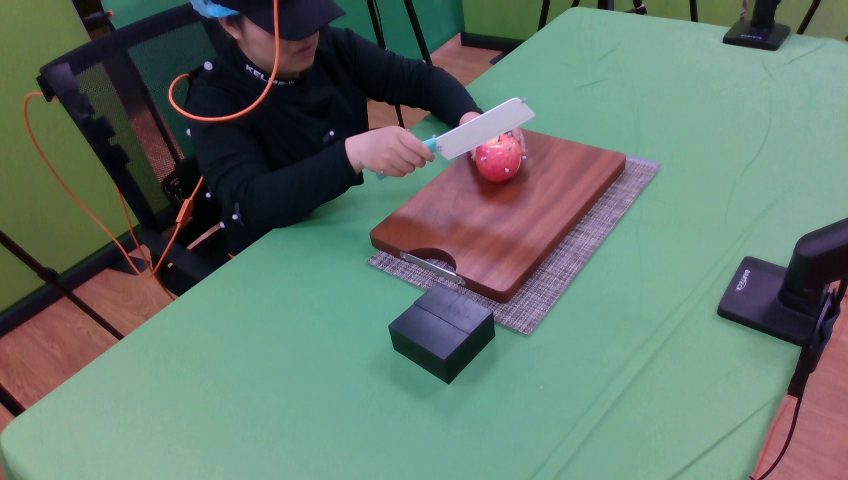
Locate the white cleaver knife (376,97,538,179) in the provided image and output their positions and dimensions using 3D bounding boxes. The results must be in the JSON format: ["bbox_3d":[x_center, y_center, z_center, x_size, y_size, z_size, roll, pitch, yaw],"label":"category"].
[{"bbox_3d":[0.043,-0.150,0.960,0.285,0.066,0.021,-21,52,28],"label":"white cleaver knife"}]

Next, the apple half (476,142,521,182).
[{"bbox_3d":[0.126,-0.127,1.026,0.081,0.081,0.032,1,37,12],"label":"apple half"}]

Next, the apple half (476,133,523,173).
[{"bbox_3d":[0.134,-0.151,1.056,0.080,0.075,0.053,-2,36,14],"label":"apple half"}]
